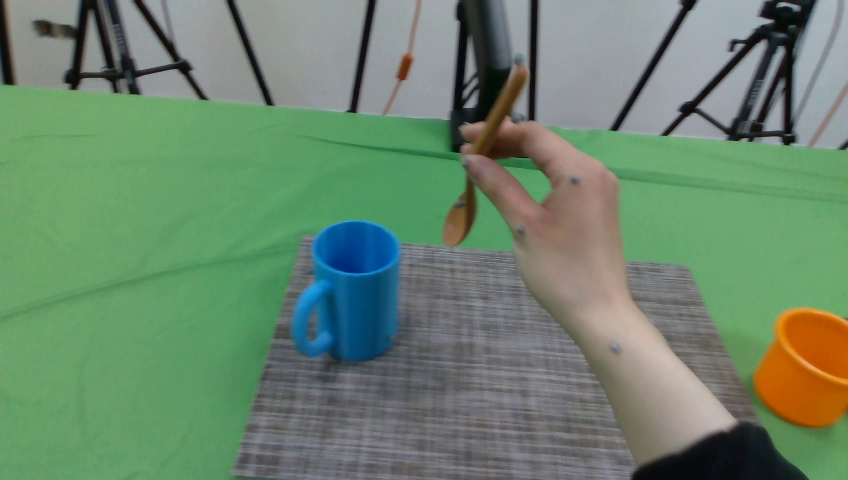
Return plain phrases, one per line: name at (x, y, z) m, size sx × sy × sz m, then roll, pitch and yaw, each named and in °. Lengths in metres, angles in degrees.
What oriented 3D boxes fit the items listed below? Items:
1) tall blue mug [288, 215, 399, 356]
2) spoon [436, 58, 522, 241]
tall blue mug at (-0.068, 0.052, 0.543) m, size 0.078 × 0.109 × 0.106 m, roll 11°, pitch 39°, yaw 4°
spoon at (0.031, -0.050, 0.400) m, size 0.022 × 0.195 × 0.041 m, roll 6°, pitch 65°, yaw -4°
